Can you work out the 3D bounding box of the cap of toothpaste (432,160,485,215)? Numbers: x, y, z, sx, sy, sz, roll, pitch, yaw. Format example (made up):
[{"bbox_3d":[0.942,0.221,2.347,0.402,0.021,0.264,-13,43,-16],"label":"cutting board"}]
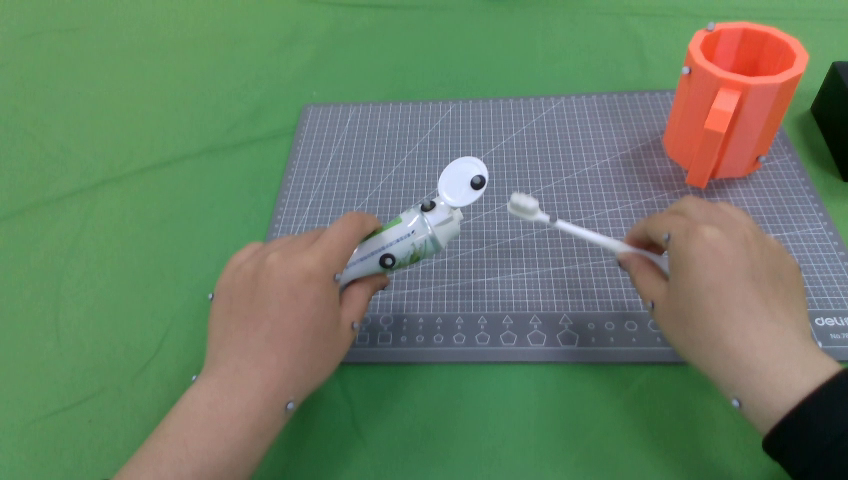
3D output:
[{"bbox_3d":[0.023,-0.033,0.379,0.037,0.011,0.037,-14,62,27],"label":"cap of toothpaste"}]

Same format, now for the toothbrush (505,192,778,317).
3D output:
[{"bbox_3d":[0.136,0.007,0.393,0.181,0.017,0.014,24,53,17],"label":"toothbrush"}]

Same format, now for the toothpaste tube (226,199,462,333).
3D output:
[{"bbox_3d":[-0.048,0.021,0.397,0.165,0.055,0.034,-29,77,1],"label":"toothpaste tube"}]

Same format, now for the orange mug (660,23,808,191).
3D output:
[{"bbox_3d":[0.241,-0.102,0.489,0.083,0.102,0.126,22,50,22],"label":"orange mug"}]
